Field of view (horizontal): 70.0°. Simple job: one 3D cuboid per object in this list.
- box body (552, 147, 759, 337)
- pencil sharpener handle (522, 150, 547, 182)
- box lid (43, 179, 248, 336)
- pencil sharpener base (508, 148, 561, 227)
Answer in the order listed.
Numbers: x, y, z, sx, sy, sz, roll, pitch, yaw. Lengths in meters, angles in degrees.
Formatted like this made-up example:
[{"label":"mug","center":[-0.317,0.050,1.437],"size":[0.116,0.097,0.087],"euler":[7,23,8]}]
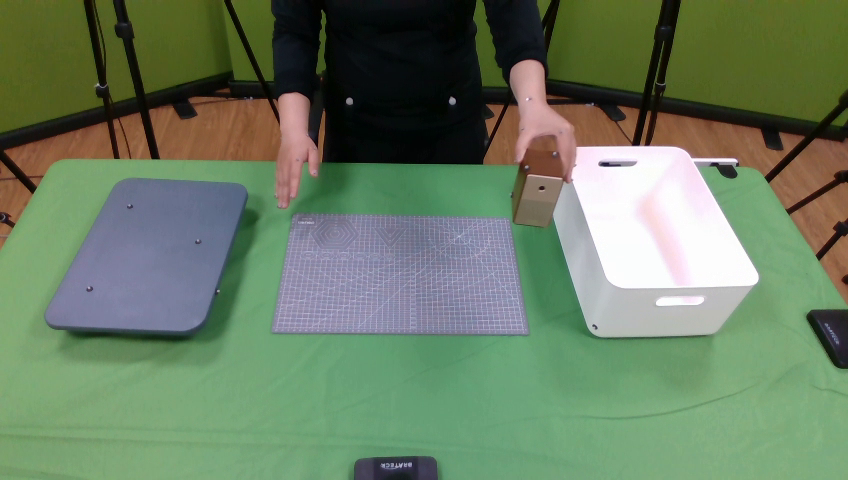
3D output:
[{"label":"box body","center":[0.401,-0.001,1.131],"size":[0.254,0.161,0.361],"euler":[-1,46,-5]},{"label":"pencil sharpener handle","center":[0.177,-0.128,1.003],"size":[0.036,0.068,0.030],"euler":[13,42,-7]},{"label":"box lid","center":[-0.484,0.017,1.093],"size":[0.263,0.015,0.369],"euler":[2,46,-2]},{"label":"pencil sharpener base","center":[0.175,-0.084,0.975],"size":[0.061,0.107,0.076],"euler":[7,43,-2]}]
